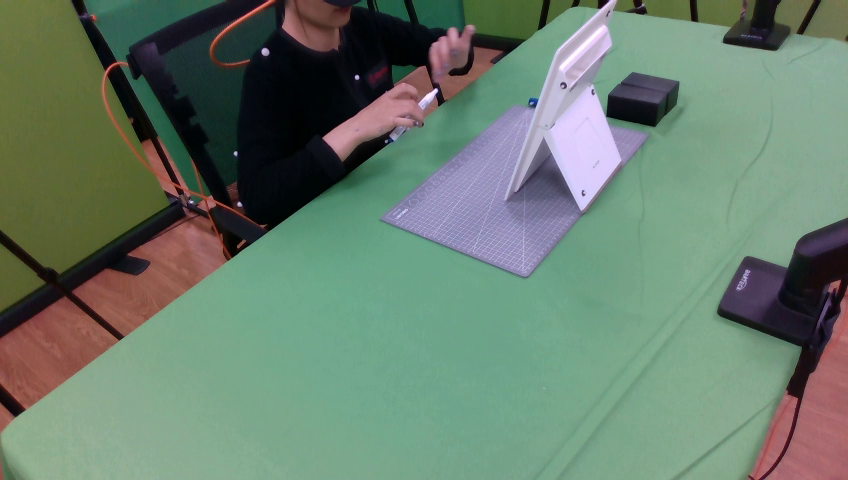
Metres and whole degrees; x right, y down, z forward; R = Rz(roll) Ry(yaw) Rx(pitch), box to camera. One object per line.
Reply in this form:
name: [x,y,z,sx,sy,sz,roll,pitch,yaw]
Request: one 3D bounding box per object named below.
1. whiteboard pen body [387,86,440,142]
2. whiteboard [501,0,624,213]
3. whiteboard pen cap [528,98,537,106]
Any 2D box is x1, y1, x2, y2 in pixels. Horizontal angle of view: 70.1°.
whiteboard pen body: [-0.019,-0.240,1.144,0.141,0.017,0.017,-47,46,1]
whiteboard: [0.271,-0.189,0.977,0.143,0.306,0.218,34,53,16]
whiteboard pen cap: [0.239,-0.293,1.288,0.033,0.018,0.018,22,50,35]
